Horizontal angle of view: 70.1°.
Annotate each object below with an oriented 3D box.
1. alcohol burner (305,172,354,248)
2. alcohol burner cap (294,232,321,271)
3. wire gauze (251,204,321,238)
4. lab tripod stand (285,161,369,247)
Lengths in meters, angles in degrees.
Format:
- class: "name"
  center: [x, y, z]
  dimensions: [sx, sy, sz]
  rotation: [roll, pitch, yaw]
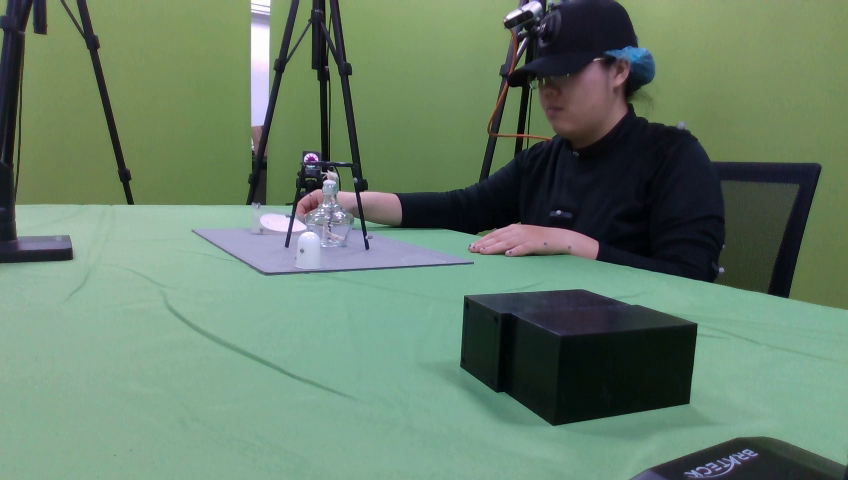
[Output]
- class: "alcohol burner"
  center: [-0.148, -0.048, 0.949]
  dimensions: [0.078, 0.119, 0.078]
  rotation: [1, 6, 0]
- class: "alcohol burner cap"
  center: [-0.144, 0.013, 0.748]
  dimensions: [0.034, 0.048, 0.034]
  rotation: [3, 6, 0]
- class: "wire gauze"
  center: [-0.255, -0.033, 1.113]
  dimensions: [0.122, 0.011, 0.124]
  rotation: [9, 22, -20]
- class: "lab tripod stand"
  center: [-0.151, -0.058, 0.947]
  dimensions: [0.148, 0.131, 0.148]
  rotation: [1, 6, 0]
